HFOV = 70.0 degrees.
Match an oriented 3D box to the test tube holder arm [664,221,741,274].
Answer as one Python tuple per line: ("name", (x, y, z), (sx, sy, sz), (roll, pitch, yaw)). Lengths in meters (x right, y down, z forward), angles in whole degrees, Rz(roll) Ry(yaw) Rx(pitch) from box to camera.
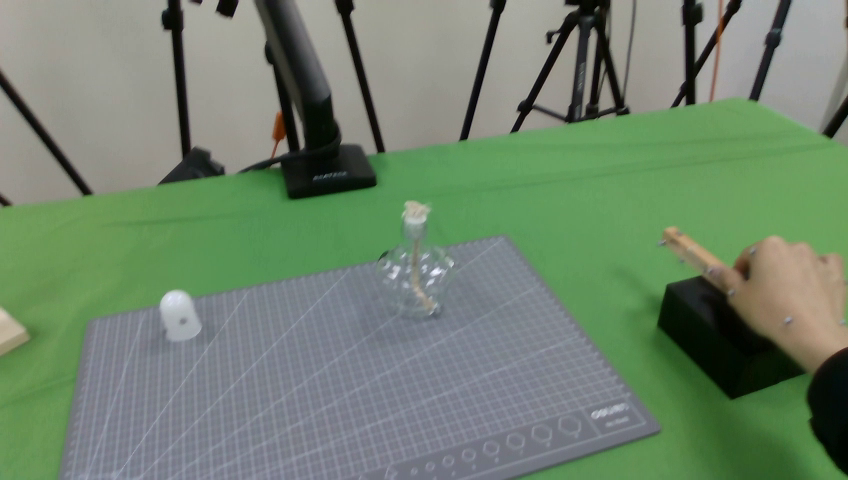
("test tube holder arm", (0.259, 0.008, 0.567), (0.015, 0.010, 0.087), (-12, 37, -16))

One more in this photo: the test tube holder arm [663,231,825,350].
("test tube holder arm", (0.275, 0.036, 0.536), (0.015, 0.013, 0.176), (-12, 36, -16))

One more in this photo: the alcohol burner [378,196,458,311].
("alcohol burner", (-0.006, 0.009, 0.580), (0.078, 0.120, 0.077), (1, 35, 0))

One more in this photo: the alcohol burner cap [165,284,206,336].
("alcohol burner cap", (-0.228, 0.064, 0.572), (0.034, 0.048, 0.033), (-1, 35, 1))

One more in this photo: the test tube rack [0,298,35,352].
("test tube rack", (-0.474, 0.100, 0.497), (0.066, 0.086, 0.242), (24, 42, 31))
